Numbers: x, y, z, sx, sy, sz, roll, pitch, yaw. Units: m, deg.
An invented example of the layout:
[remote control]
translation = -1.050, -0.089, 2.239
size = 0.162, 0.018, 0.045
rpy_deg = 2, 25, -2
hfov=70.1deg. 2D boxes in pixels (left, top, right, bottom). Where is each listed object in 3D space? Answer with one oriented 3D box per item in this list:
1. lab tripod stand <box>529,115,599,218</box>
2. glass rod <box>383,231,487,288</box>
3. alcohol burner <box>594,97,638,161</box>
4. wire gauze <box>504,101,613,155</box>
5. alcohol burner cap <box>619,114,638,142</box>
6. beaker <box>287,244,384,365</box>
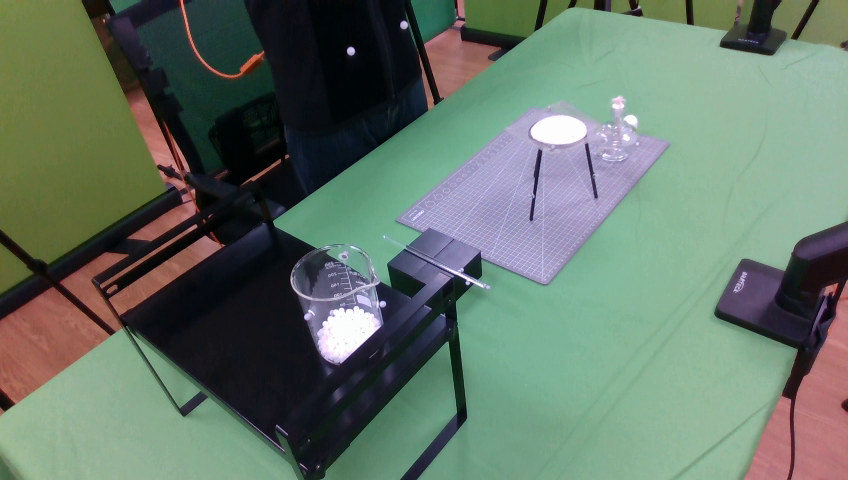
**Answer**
[lab tripod stand]
translation = 0.217, -0.123, 0.995
size = 0.148, 0.132, 0.147
rpy_deg = -4, 42, 4
[glass rod]
translation = 0.011, 0.027, 0.879
size = 0.198, 0.008, 0.008
rpy_deg = 27, 51, 34
[alcohol burner]
translation = 0.345, -0.203, 1.083
size = 0.078, 0.119, 0.077
rpy_deg = -5, 42, 5
[wire gauze]
translation = 0.211, -0.176, 0.955
size = 0.125, 0.011, 0.120
rpy_deg = -24, 44, -18
[alcohol burner cap]
translation = 0.388, -0.214, 1.145
size = 0.034, 0.048, 0.033
rpy_deg = -3, 39, 3
[beaker]
translation = -0.076, 0.065, 0.574
size = 0.083, 0.101, 0.074
rpy_deg = 7, 44, 15
